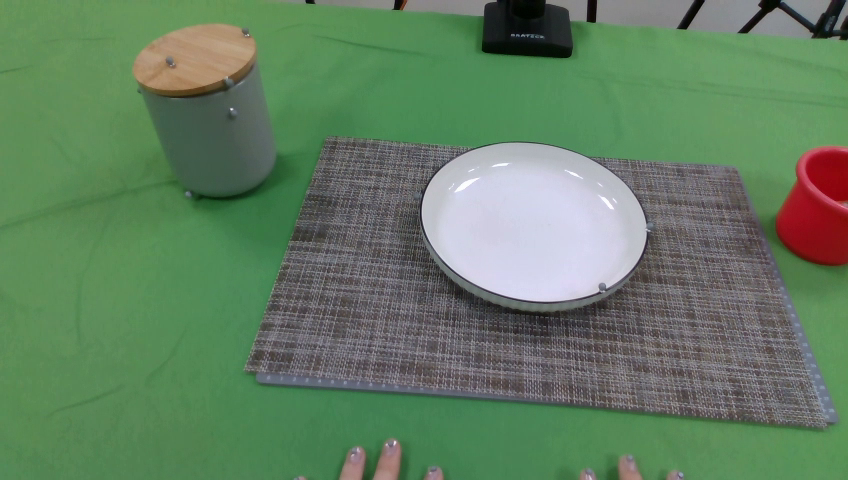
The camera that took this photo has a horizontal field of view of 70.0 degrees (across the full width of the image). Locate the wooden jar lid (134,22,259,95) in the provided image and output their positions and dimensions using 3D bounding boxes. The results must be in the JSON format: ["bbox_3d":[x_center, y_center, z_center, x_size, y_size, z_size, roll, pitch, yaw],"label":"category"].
[{"bbox_3d":[-0.201,-0.160,0.543,0.108,0.021,0.107,-1,49,1],"label":"wooden jar lid"}]

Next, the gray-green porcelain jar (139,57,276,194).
[{"bbox_3d":[-0.204,-0.117,0.590,0.106,0.127,0.105,1,48,-1],"label":"gray-green porcelain jar"}]

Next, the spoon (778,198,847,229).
[{"bbox_3d":[0.417,-0.039,0.530,0.193,0.022,0.041,-18,28,47],"label":"spoon"}]

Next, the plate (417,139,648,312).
[{"bbox_3d":[0.097,-0.014,0.563,0.208,0.039,0.205,1,48,-1],"label":"plate"}]
